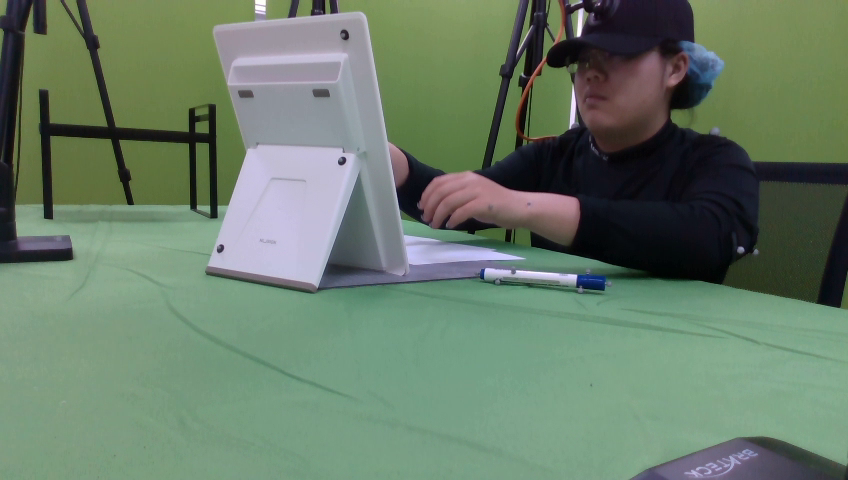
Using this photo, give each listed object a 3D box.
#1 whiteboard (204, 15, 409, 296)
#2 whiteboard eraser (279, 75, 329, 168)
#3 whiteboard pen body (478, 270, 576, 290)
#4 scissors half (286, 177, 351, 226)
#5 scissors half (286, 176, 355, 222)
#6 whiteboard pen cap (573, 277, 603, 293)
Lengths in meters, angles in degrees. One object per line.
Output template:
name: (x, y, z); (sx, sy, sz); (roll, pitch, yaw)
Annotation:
whiteboard: (-0.166, -0.072, 0.669); (0.216, 0.305, 0.144); (8, 30, 30)
whiteboard eraser: (-0.151, -0.147, 0.758); (0.055, 0.112, 0.042); (14, 31, 22)
whiteboard pen body: (0.132, 0.047, 0.706); (0.140, 0.017, 0.017); (4, 7, 18)
scissors half: (-0.232, -0.086, 1.317); (0.175, 0.013, 0.040); (37, 17, 5)
scissors half: (-0.229, -0.091, 1.337); (0.175, 0.013, 0.040); (33, 12, -13)
whiteboard pen cap: (0.186, 0.051, 0.687); (0.033, 0.018, 0.018); (5, 8, 17)
